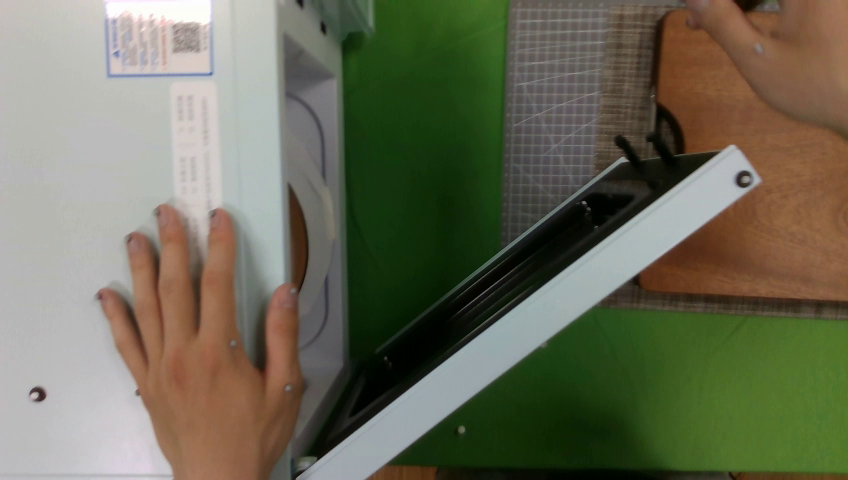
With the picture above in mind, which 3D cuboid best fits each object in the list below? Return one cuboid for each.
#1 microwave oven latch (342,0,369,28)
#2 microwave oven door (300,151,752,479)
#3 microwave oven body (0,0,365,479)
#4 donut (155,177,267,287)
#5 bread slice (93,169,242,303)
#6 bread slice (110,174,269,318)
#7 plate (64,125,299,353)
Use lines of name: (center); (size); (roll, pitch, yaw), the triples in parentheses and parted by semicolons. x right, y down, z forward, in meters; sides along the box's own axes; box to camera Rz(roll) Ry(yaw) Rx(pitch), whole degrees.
microwave oven latch: (-0.067, -0.243, 0.571); (0.030, 0.029, 0.079); (-1, 97, 2)
microwave oven door: (0.062, 0.048, 0.500); (0.356, 0.243, 0.039); (-39, 93, 6)
microwave oven body: (-0.218, -0.056, 0.504); (0.326, 0.259, 0.442); (-1, 97, 2)
donut: (-0.188, -0.007, 0.537); (0.099, 0.048, 0.099); (0, 93, 1)
bread slice: (-0.210, -0.004, 0.499); (0.134, 0.018, 0.107); (2, 99, 13)
bread slice: (-0.224, 0.002, 0.561); (0.131, 0.019, 0.105); (25, 97, -1)
plate: (-0.217, 0.000, 0.559); (0.208, 0.039, 0.208); (0, 97, -2)
